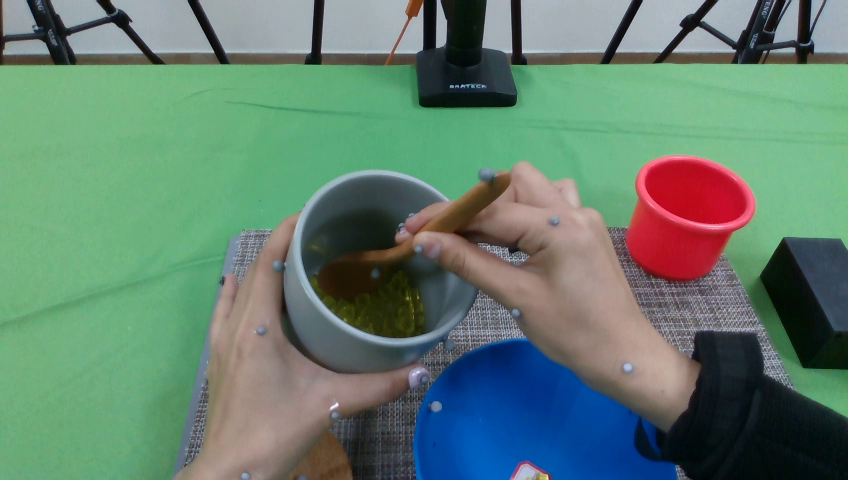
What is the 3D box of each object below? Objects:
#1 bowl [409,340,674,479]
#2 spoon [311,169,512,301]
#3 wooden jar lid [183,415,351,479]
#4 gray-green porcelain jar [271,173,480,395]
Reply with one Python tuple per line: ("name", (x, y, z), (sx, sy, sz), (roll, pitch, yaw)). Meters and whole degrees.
("bowl", (0.066, 0.145, 0.373), (0.151, 0.077, 0.150), (1, 46, -1))
("spoon", (-0.013, 0.005, 0.341), (0.042, 0.193, 0.021), (20, 63, -27))
("wooden jar lid", (-0.100, 0.165, 0.387), (0.108, 0.021, 0.107), (1, 45, 0))
("gray-green porcelain jar", (-0.038, 0.036, 0.377), (0.106, 0.127, 0.105), (9, 62, -17))
